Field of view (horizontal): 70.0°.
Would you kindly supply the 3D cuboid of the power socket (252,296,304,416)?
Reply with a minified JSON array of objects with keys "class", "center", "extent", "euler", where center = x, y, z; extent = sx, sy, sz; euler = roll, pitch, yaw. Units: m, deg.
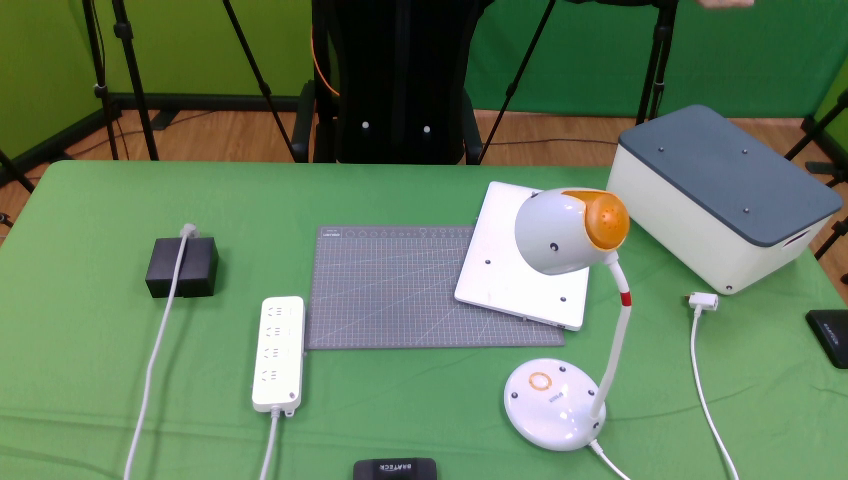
[{"class":"power socket","center":[-0.238,0.181,0.997],"extent":[0.072,0.033,0.225],"euler":[-3,47,-5]}]

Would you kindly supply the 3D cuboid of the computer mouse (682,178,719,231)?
[{"class":"computer mouse","center":[0.596,-0.078,1.289],"extent":[0.117,0.041,0.062],"euler":[56,44,-8]}]

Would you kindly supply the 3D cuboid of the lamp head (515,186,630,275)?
[{"class":"lamp head","center":[0.188,-0.013,0.728],"extent":[0.112,0.112,0.122],"euler":[-25,9,-25]}]

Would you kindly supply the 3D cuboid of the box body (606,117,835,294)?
[{"class":"box body","center":[0.582,-0.089,1.230],"extent":[0.254,0.161,0.361],"euler":[-22,52,-23]}]

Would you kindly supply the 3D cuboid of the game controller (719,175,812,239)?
[{"class":"game controller","center":[0.652,-0.067,1.174],"extent":[0.154,0.052,0.097],"euler":[28,89,32]}]

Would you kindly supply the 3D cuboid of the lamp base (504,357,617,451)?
[{"class":"lamp base","center":[0.220,0.211,0.903],"extent":[0.160,0.181,0.178],"euler":[-33,59,-30]}]

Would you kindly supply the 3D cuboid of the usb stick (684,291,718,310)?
[{"class":"usb stick","center":[0.509,0.111,1.121],"extent":[0.059,0.021,0.027],"euler":[6,54,46]}]

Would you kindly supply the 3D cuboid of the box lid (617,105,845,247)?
[{"class":"box lid","center":[0.586,-0.138,1.176],"extent":[0.263,0.015,0.369],"euler":[-22,51,-23]}]

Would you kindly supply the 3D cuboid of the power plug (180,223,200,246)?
[{"class":"power plug","center":[-0.450,-0.004,1.137],"extent":[0.035,0.053,0.072],"euler":[24,32,1]}]

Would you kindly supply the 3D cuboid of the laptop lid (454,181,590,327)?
[{"class":"laptop lid","center":[0.210,0.010,1.193],"extent":[0.241,0.013,0.355],"euler":[13,46,11]}]

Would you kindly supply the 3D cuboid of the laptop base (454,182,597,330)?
[{"class":"laptop base","center":[0.211,0.019,1.202],"extent":[0.235,0.023,0.352],"euler":[11,46,10]}]
